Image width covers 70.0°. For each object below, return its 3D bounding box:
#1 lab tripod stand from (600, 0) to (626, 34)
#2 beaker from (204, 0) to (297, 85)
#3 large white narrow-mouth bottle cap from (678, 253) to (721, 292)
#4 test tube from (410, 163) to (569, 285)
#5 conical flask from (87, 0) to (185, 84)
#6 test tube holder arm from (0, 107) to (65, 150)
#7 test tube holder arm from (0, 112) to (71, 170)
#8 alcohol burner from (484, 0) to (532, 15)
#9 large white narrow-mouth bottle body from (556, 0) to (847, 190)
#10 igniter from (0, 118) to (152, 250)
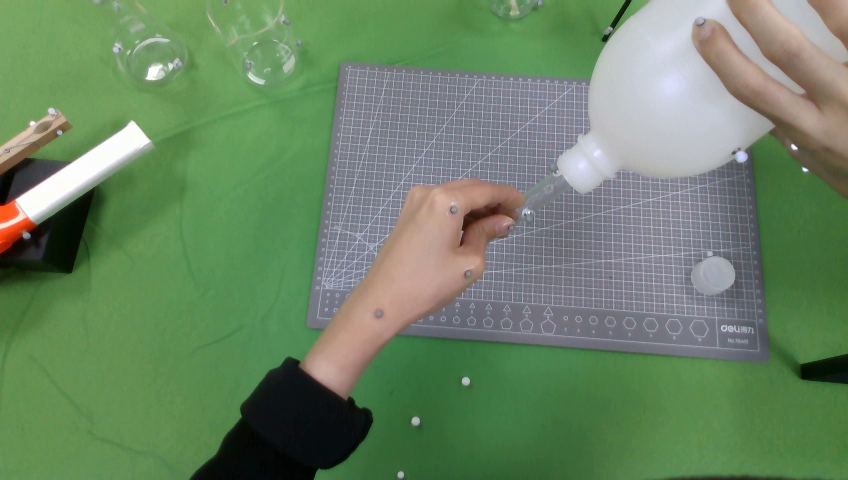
[{"bbox_3d":[0.266,-0.288,0.640,0.148,0.132,0.147,1,72,-2],"label":"lab tripod stand"},{"bbox_3d":[-0.176,-0.213,0.629,0.074,0.101,0.083,19,74,6],"label":"beaker"},{"bbox_3d":[0.274,0.033,0.600,0.038,0.024,0.037,0,74,0],"label":"large white narrow-mouth bottle cap"},{"bbox_3d":[0.043,-0.008,0.429,0.150,0.017,0.017,-37,71,31],"label":"test tube"},{"bbox_3d":[-0.302,-0.221,0.617,0.075,0.122,0.075,0,72,0],"label":"conical flask"},{"bbox_3d":[-0.421,-0.068,0.573,0.178,0.015,0.013,-40,77,-12],"label":"test tube holder arm"},{"bbox_3d":[-0.383,-0.092,0.582,0.088,0.015,0.010,-38,77,-12],"label":"test tube holder arm"},{"bbox_3d":[0.097,-0.302,0.653,0.078,0.120,0.077,1,71,-2],"label":"alcohol burner"},{"bbox_3d":[0.156,-0.098,0.339,0.195,0.102,0.101,-42,74,27],"label":"large white narrow-mouth bottle body"},{"bbox_3d":[-0.379,-0.023,0.557,0.276,0.025,0.057,-40,79,-15],"label":"igniter"}]
